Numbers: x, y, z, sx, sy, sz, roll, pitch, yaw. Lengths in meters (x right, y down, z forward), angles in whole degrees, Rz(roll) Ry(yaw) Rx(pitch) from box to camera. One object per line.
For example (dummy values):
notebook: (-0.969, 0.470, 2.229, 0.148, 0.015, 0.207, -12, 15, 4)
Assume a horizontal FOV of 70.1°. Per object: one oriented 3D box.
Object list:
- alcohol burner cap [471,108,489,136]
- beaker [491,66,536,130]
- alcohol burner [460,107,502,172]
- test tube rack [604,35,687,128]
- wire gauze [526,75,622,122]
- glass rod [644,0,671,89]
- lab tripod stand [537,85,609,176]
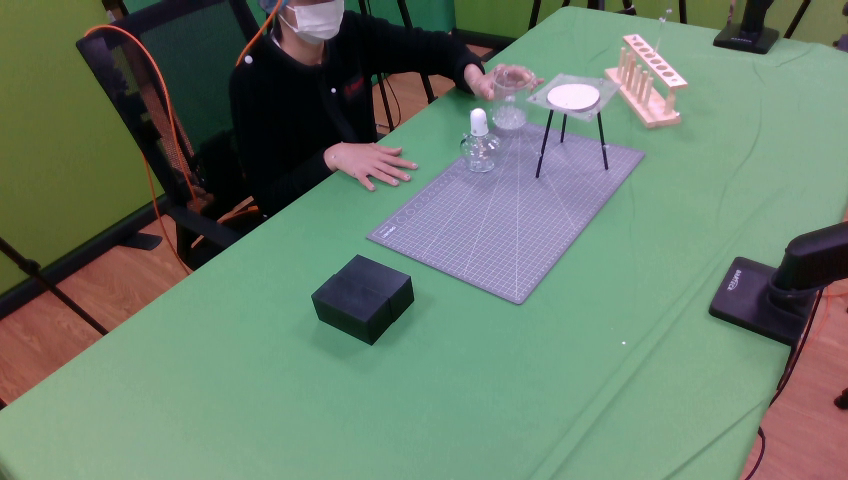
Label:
alcohol burner cap: (0.098, -0.211, 1.074, 0.034, 0.048, 0.033, -6, 42, 6)
beaker: (0.166, -0.264, 1.135, 0.084, 0.100, 0.073, -8, 50, -3)
alcohol burner: (0.102, -0.185, 1.098, 0.078, 0.119, 0.077, -6, 40, 5)
test tube rack: (0.447, -0.330, 1.241, 0.067, 0.085, 0.241, -9, 41, -2)
wire gauze: (0.255, -0.248, 1.030, 0.124, 0.011, 0.122, 24, 51, 32)
glass rod: (0.463, -0.387, 1.204, 0.008, 0.200, 0.008, 0, 47, 1)
lab tripod stand: (0.259, -0.192, 1.068, 0.148, 0.132, 0.147, -4, 43, 4)
